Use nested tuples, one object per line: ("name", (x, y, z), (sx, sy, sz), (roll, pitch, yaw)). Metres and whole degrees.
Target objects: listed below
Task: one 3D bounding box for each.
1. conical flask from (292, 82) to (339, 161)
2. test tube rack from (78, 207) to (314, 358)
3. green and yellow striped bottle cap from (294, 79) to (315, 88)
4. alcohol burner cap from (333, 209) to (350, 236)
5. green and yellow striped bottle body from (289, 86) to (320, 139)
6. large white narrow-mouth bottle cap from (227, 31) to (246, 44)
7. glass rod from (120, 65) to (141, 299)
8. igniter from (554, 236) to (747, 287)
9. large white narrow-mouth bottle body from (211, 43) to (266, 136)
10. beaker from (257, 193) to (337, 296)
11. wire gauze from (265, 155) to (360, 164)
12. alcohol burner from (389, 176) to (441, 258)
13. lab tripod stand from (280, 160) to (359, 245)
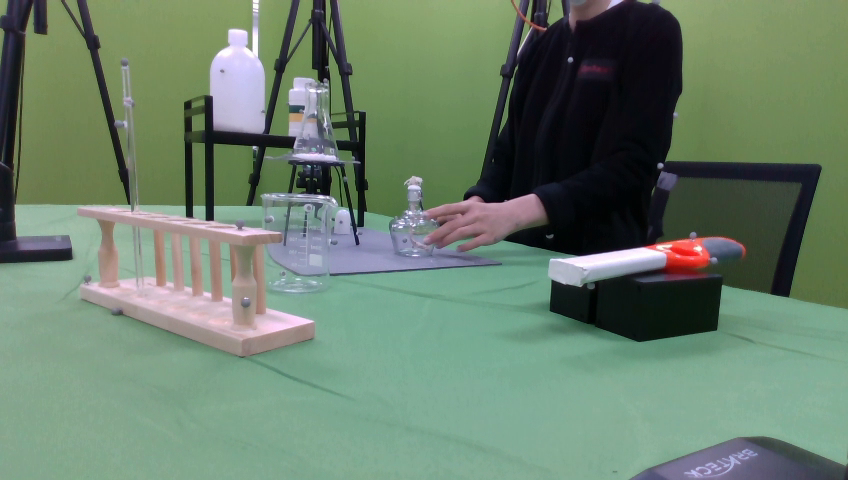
("conical flask", (-0.171, -0.185, 0.957), (0.075, 0.122, 0.075), (2, 7, 0))
("test tube rack", (-0.196, 0.024, 0.500), (0.241, 0.085, 0.067), (8, 8, 37))
("green and yellow striped bottle cap", (-0.248, -0.323, 1.256), (0.045, 0.020, 0.045), (3, 9, 0))
("alcohol burner cap", (-0.151, -0.033, 1.116), (0.034, 0.048, 0.034), (4, 7, 0))
("green and yellow striped bottle body", (-0.250, -0.272, 1.261), (0.063, 0.119, 0.063), (3, 7, 0))
("large white narrow-mouth bottle cap", (-0.361, -0.387, 1.166), (0.038, 0.024, 0.037), (1, 7, 0))
("glass rod", (-0.249, -0.047, 0.513), (0.008, 0.199, 0.008), (-1, 4, 0))
("igniter", (0.221, 0.017, 0.558), (0.278, 0.025, 0.057), (-5, 15, -39))
("large white narrow-mouth bottle body", (-0.361, -0.302, 1.176), (0.102, 0.194, 0.102), (1, 7, 0))
("beaker", (-0.130, 0.004, 0.628), (0.084, 0.100, 0.074), (5, 8, 15))
("wire gauze", (-0.181, -0.128, 0.969), (0.126, 0.011, 0.121), (-3, 7, -26))
("alcohol burner", (-0.013, -0.034, 0.891), (0.078, 0.119, 0.078), (0, 6, 0))
("lab tripod stand", (-0.176, -0.062, 0.973), (0.148, 0.131, 0.148), (1, 7, 0))
